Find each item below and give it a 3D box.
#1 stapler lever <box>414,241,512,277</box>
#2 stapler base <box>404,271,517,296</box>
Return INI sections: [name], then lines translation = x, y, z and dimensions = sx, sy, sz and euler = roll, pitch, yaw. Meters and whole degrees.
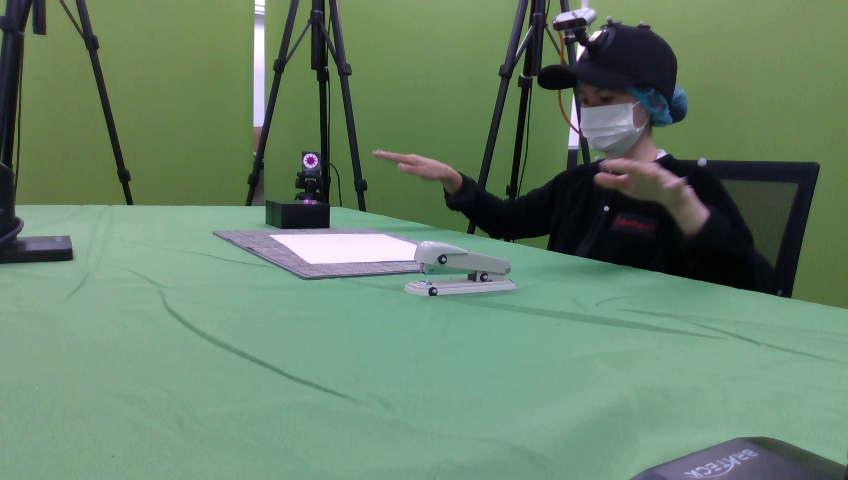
[stapler lever]
translation = 0.044, 0.021, 0.667
dimensions = 0.119, 0.040, 0.026
euler = 0, 9, -29
[stapler base]
translation = 0.041, 0.045, 0.669
dimensions = 0.131, 0.024, 0.041
euler = 1, 9, -29
